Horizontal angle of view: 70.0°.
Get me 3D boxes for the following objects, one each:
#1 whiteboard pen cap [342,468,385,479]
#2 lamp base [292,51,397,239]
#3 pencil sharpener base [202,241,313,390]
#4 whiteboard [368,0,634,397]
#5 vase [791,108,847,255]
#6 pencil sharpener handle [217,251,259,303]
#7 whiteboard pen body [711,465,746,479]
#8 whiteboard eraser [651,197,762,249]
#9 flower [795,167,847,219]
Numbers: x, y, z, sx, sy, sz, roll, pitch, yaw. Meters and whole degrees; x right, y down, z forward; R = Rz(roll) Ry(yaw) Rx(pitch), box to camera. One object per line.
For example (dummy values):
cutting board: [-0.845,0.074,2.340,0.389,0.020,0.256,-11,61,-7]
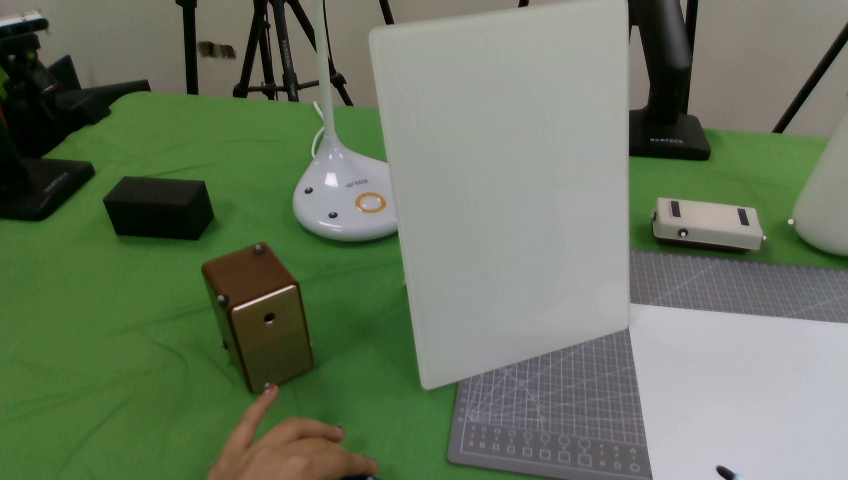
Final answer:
whiteboard pen cap: [-0.044,0.180,0.446,0.033,0.018,0.018,6,37,27]
lamp base: [-0.092,-0.119,0.714,0.161,0.182,0.177,-27,43,-29]
pencil sharpener base: [-0.146,0.066,0.537,0.061,0.108,0.076,-23,43,-26]
whiteboard: [0.061,-0.048,0.566,0.218,0.307,0.142,-13,21,-15]
vase: [0.474,-0.081,0.645,0.098,0.202,0.097,1,38,0]
pencil sharpener handle: [-0.173,0.030,0.563,0.036,0.068,0.030,-30,46,-20]
whiteboard pen body: [0.180,0.136,0.239,0.139,0.017,0.017,34,49,26]
whiteboard eraser: [0.320,-0.017,0.693,0.112,0.042,0.055,6,36,10]
flower: [0.481,-0.136,0.581,0.044,0.364,0.038,-9,56,-21]
